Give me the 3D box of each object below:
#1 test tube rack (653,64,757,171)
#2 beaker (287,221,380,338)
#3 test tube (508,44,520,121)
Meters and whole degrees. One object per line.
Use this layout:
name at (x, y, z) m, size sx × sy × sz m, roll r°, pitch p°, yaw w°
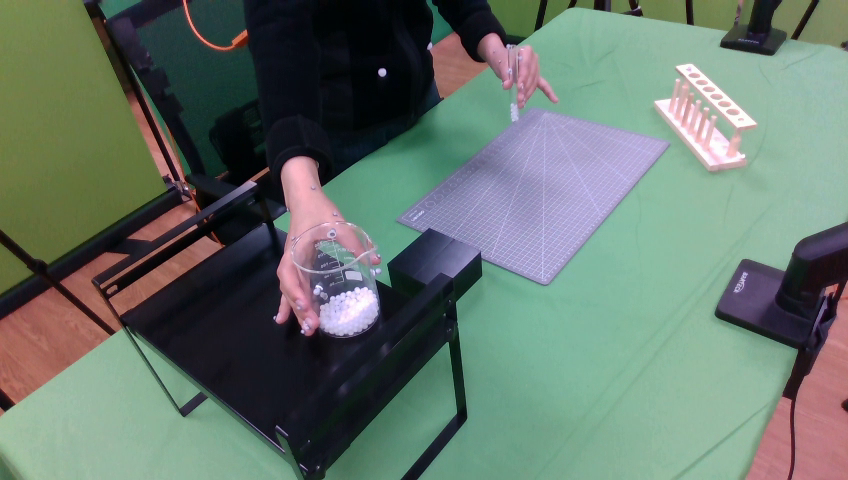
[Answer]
test tube rack at (0.510, -0.233, 1.119) m, size 0.067 × 0.085 × 0.241 m, roll -8°, pitch 41°, yaw -2°
beaker at (-0.082, 0.042, 0.602) m, size 0.084 × 0.101 × 0.073 m, roll -4°, pitch 42°, yaw 3°
test tube at (0.148, -0.253, 0.990) m, size 0.017 × 0.151 × 0.017 m, roll -5°, pitch 53°, yaw 7°
